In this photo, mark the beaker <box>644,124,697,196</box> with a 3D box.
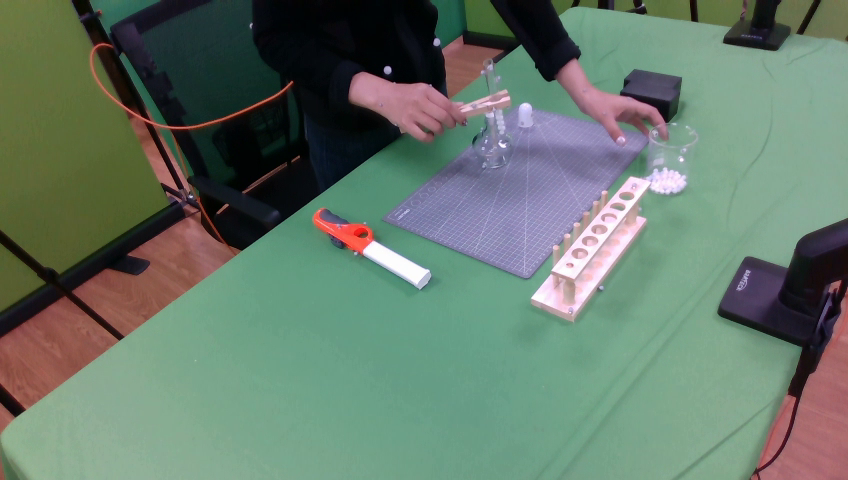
[{"bbox_3d":[0.407,-0.131,1.001,0.084,0.101,0.073,-20,42,-14],"label":"beaker"}]

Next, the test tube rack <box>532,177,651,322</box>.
[{"bbox_3d":[0.248,0.002,0.883,0.066,0.085,0.243,22,49,32],"label":"test tube rack"}]

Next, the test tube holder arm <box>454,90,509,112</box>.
[{"bbox_3d":[0.090,-0.213,0.944,0.088,0.015,0.010,-20,51,1],"label":"test tube holder arm"}]

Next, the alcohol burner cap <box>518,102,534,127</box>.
[{"bbox_3d":[0.205,-0.255,1.223,0.034,0.048,0.033,-6,40,6],"label":"alcohol burner cap"}]

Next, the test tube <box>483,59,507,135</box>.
[{"bbox_3d":[0.112,-0.217,0.937,0.017,0.151,0.017,-8,55,12],"label":"test tube"}]

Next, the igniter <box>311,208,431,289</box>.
[{"bbox_3d":[-0.096,0.008,0.985,0.274,0.025,0.057,28,62,36],"label":"igniter"}]

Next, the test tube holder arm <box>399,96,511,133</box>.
[{"bbox_3d":[0.048,-0.196,0.944,0.178,0.015,0.013,-14,51,6],"label":"test tube holder arm"}]

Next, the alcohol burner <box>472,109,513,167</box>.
[{"bbox_3d":[0.125,-0.194,1.111,0.078,0.119,0.077,-5,42,5],"label":"alcohol burner"}]
